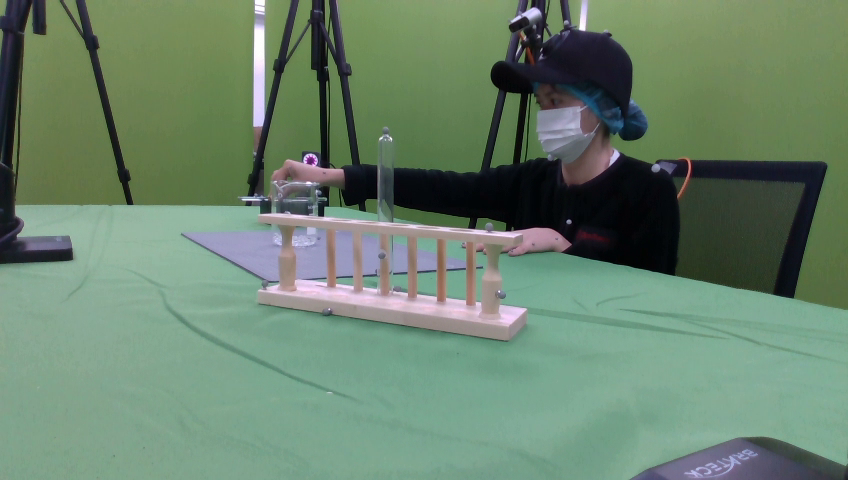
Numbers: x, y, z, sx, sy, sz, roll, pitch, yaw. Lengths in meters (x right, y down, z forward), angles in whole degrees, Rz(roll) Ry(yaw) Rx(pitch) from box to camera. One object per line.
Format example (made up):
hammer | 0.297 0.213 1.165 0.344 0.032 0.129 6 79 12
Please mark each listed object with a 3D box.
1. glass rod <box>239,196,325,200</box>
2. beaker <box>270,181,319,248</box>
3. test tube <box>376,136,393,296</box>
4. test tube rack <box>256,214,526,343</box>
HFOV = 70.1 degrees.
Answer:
glass rod | -0.288 -0.087 1.250 0.201 0.008 0.008 -4 10 -44
beaker | -0.203 -0.040 0.935 0.074 0.100 0.084 5 8 18
test tube | -0.037 -0.022 0.565 0.017 0.150 0.017 1 6 0
test tube rack | -0.032 0.027 0.547 0.241 0.085 0.067 5 7 22
